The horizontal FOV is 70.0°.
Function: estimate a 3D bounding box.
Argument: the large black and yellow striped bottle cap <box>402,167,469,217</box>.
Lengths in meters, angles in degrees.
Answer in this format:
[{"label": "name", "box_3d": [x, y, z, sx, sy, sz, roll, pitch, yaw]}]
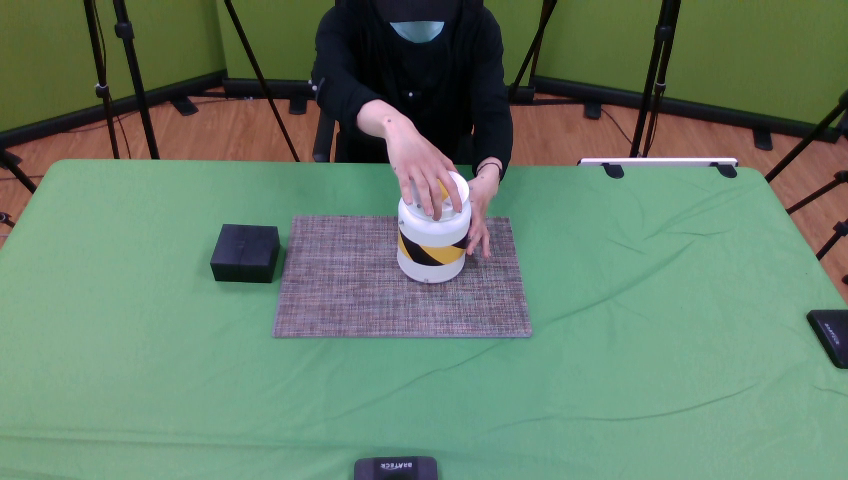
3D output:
[{"label": "large black and yellow striped bottle cap", "box_3d": [0.020, -0.084, 1.041, 0.115, 0.019, 0.114, 3, 46, -2]}]

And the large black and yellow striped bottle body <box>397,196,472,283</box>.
[{"label": "large black and yellow striped bottle body", "box_3d": [0.017, -0.025, 1.102, 0.131, 0.185, 0.130, 2, 46, -2]}]
